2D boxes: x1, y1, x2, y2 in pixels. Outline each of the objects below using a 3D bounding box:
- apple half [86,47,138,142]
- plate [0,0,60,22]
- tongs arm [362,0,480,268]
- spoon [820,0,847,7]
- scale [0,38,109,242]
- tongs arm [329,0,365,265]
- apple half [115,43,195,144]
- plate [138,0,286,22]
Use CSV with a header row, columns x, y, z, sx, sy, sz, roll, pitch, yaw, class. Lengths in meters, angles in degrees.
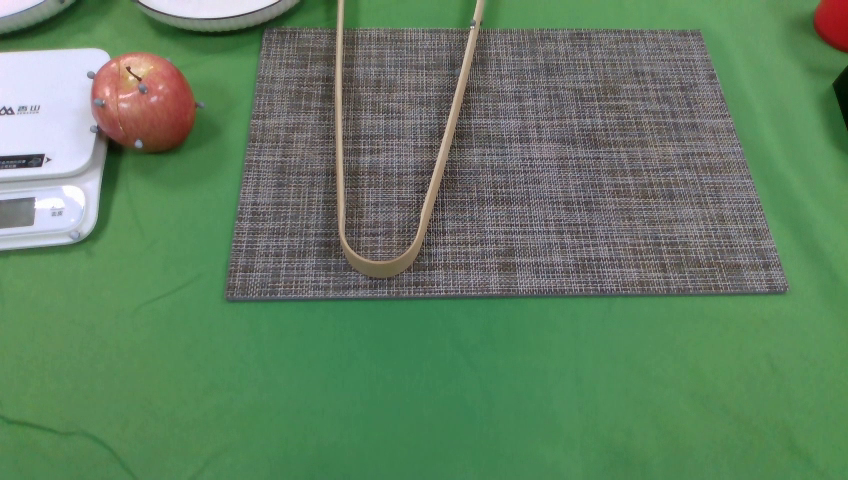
x,y,z,sx,sy,sz,roll,pitch,yaw,class
-0.264,-0.118,0.513,0.033,0.082,0.080,-8,62,-10,apple half
-0.436,-0.292,0.622,0.208,0.039,0.206,1,62,-1,plate
0.011,-0.146,0.559,0.051,0.027,0.382,10,62,3,tongs arm
0.488,-0.259,0.576,0.022,0.192,0.041,51,57,-26,spoon
-0.350,-0.090,0.519,0.149,0.032,0.199,-5,62,-5,scale
-0.074,-0.153,0.562,0.028,0.028,0.384,-1,62,-7,tongs arm
-0.226,-0.124,0.519,0.053,0.075,0.080,-8,58,-9,apple half
-0.211,-0.298,0.634,0.209,0.038,0.207,1,61,-1,plate
